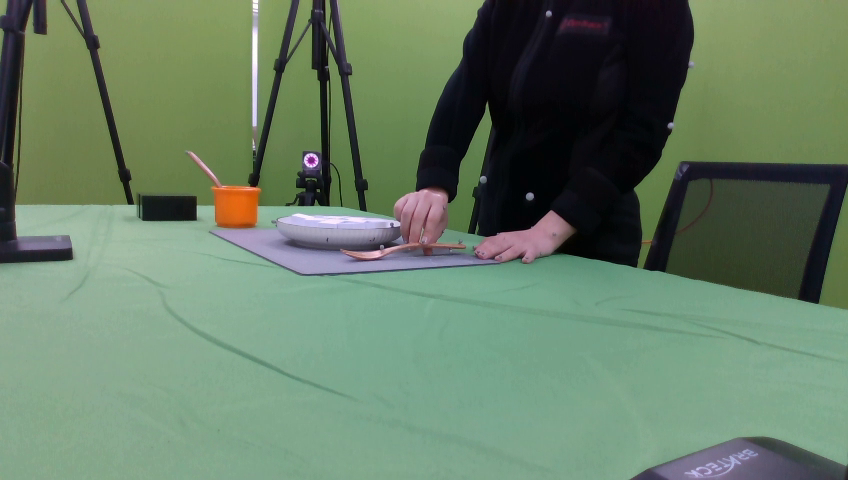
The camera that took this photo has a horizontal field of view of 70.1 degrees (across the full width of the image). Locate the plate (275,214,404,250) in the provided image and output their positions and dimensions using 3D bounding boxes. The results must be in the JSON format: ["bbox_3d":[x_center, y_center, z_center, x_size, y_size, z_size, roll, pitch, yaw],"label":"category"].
[{"bbox_3d":[-0.135,-0.013,0.982,0.208,0.039,0.207,3,7,0],"label":"plate"}]

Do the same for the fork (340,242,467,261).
[{"bbox_3d":[-0.023,0.014,0.866,0.208,0.018,0.028,-6,17,-32],"label":"fork"}]

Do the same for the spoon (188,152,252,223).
[{"bbox_3d":[-0.400,-0.103,1.178,0.021,0.193,0.042,-43,-11,28],"label":"spoon"}]
